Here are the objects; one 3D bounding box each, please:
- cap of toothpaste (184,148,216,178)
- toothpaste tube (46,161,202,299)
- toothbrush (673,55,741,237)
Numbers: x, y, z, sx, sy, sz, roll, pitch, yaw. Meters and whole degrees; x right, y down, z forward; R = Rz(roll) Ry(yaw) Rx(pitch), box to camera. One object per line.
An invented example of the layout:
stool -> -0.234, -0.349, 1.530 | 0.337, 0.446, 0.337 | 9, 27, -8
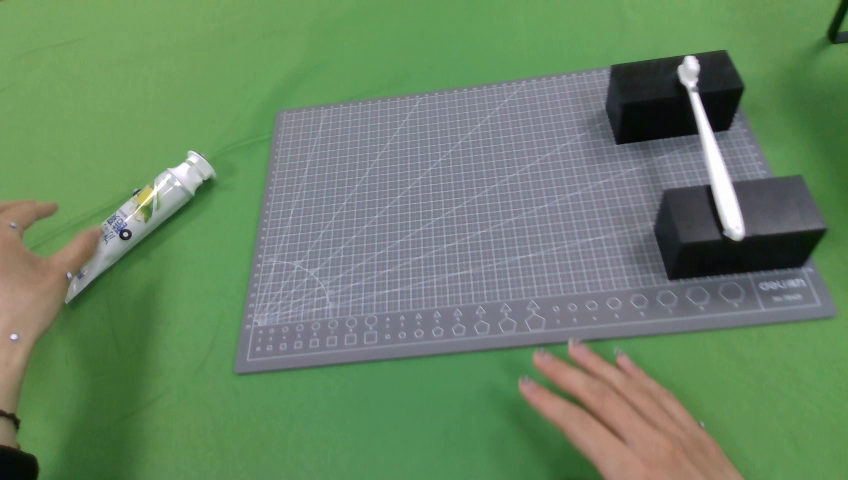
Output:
cap of toothpaste -> -0.218, -0.073, 0.587 | 0.037, 0.038, 0.011 | 24, 60, 25
toothpaste tube -> -0.274, -0.018, 0.565 | 0.054, 0.035, 0.165 | 31, 68, 37
toothbrush -> 0.217, -0.079, 0.467 | 0.014, 0.017, 0.180 | 3, 56, -2
